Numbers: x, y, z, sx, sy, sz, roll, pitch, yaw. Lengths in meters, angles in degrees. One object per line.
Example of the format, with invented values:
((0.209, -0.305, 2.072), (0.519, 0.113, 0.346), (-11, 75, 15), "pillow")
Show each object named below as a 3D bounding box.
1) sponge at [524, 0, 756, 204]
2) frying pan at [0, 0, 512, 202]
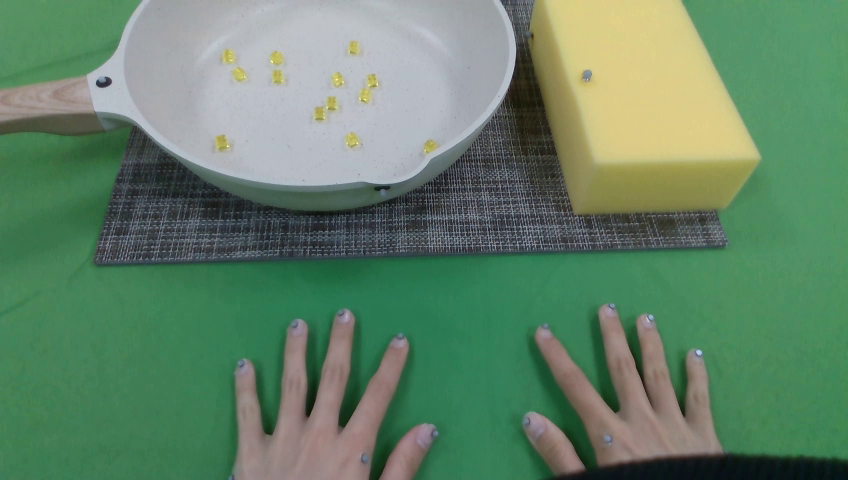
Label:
((0.159, -0.129, 0.484), (0.118, 0.061, 0.205), (-3, 57, -5), "sponge")
((-0.174, -0.118, 0.436), (0.489, 0.103, 0.303), (-15, 58, -21), "frying pan")
